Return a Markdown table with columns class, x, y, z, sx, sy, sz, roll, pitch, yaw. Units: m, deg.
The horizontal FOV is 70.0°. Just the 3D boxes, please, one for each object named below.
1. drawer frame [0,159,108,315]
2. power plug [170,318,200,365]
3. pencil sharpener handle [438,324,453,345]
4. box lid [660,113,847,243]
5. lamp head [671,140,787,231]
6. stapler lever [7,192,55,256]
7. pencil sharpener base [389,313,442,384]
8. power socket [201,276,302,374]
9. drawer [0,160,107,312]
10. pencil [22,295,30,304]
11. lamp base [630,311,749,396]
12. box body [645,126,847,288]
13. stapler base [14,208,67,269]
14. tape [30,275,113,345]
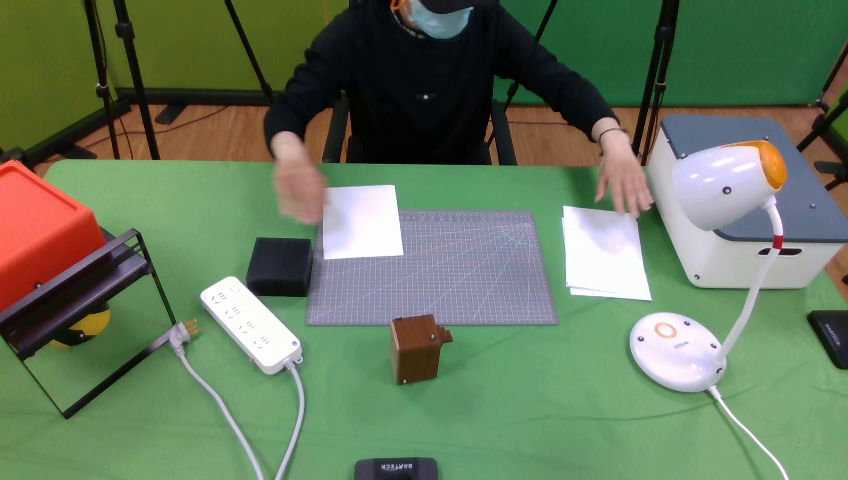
| class | x | y | z | sx | sy | sz | roll | pitch | yaw |
| --- | --- | --- | --- | --- | --- | --- | --- | --- | --- |
| drawer frame | -0.611 | 0.000 | 0.863 | 0.201 | 0.083 | 0.213 | 27 | 51 | 20 |
| power plug | -0.392 | 0.167 | 1.014 | 0.052 | 0.035 | 0.072 | -30 | 91 | -24 |
| pencil sharpener handle | 0.036 | 0.155 | 0.976 | 0.031 | 0.068 | 0.036 | -8 | 69 | -11 |
| box lid | 0.628 | -0.133 | 1.170 | 0.263 | 0.015 | 0.369 | 1 | 46 | -3 |
| lamp head | 0.415 | -0.078 | 0.811 | 0.113 | 0.123 | 0.112 | 12 | 70 | -37 |
| stapler lever | -0.575 | -0.026 | 0.885 | 0.027 | 0.040 | 0.117 | -31 | 56 | -25 |
| pencil sharpener base | -0.013 | 0.175 | 0.971 | 0.077 | 0.107 | 0.061 | -8 | 47 | -12 |
| power socket | -0.297 | 0.141 | 1.034 | 0.072 | 0.033 | 0.225 | -34 | 58 | -30 |
| drawer | -0.610 | -0.001 | 0.866 | 0.194 | 0.073 | 0.211 | 29 | 52 | 21 |
| pencil | -0.591 | 0.010 | 0.883 | 0.012 | 0.012 | 0.193 | -17 | 61 | -20 |
| lamp base | 0.447 | 0.143 | 0.983 | 0.161 | 0.181 | 0.178 | -24 | 55 | -24 |
| box body | 0.625 | -0.080 | 1.222 | 0.254 | 0.161 | 0.361 | 0 | 46 | -3 |
| stapler base | -0.577 | -0.010 | 0.903 | 0.041 | 0.024 | 0.130 | -30 | 57 | -25 |
| tape | -0.594 | 0.117 | 1.021 | 0.117 | 0.053 | 0.116 | 3 | 46 | -2 |
